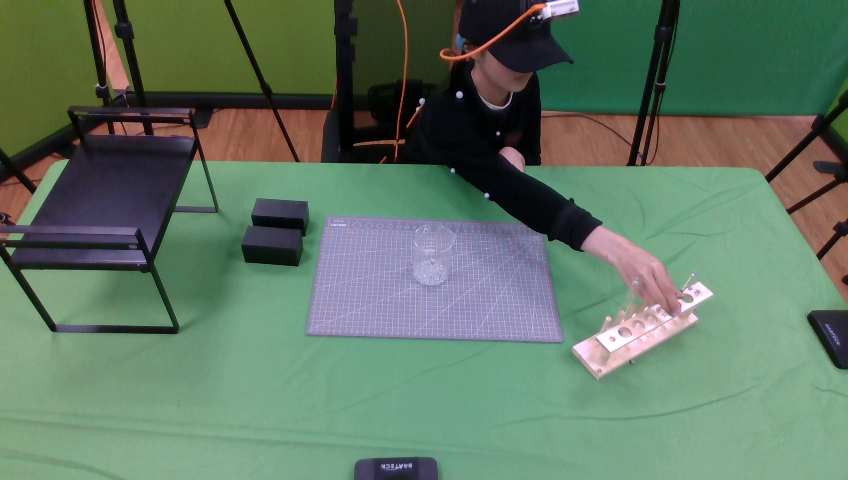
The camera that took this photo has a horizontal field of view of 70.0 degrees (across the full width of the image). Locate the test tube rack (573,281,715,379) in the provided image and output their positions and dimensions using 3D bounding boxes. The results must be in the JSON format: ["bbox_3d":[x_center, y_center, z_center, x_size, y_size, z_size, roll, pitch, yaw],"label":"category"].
[{"bbox_3d":[0.378,0.140,1.038,0.242,0.085,0.066,-22,51,-23],"label":"test tube rack"}]

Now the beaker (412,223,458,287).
[{"bbox_3d":[0.018,0.030,1.109,0.084,0.101,0.073,-10,48,-14],"label":"beaker"}]

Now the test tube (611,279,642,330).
[{"bbox_3d":[0.332,0.113,0.999,0.017,0.151,0.017,1,48,-1],"label":"test tube"}]

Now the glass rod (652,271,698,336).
[{"bbox_3d":[0.403,0.108,0.979,0.008,0.201,0.008,1,53,-1],"label":"glass rod"}]
